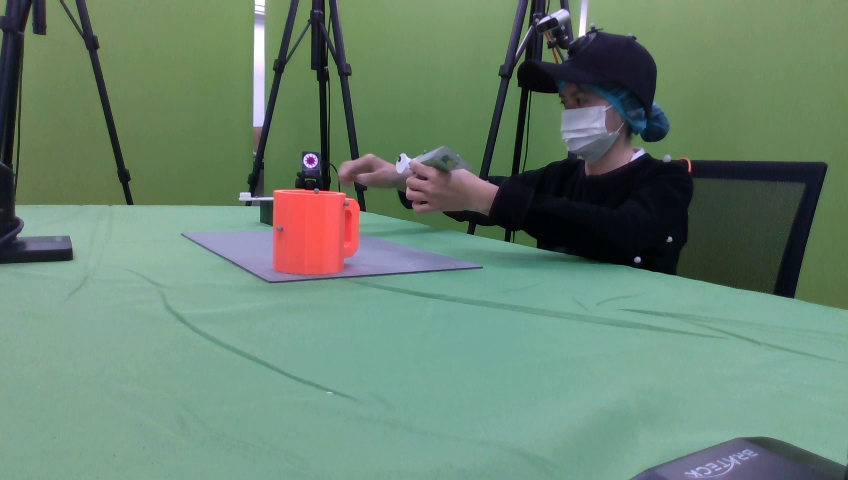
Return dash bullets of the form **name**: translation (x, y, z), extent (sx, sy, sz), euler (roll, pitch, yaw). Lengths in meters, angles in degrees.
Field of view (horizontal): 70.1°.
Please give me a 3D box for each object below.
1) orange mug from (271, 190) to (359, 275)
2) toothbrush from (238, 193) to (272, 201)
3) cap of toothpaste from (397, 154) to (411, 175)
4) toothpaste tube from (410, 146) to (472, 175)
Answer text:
- **orange mug**: translation (-0.131, -0.013, 0.754), extent (0.083, 0.101, 0.127), euler (8, 13, 38)
- **toothbrush**: translation (-0.286, -0.087, 1.236), extent (0.183, 0.016, 0.014), euler (-1, 4, -30)
- **cap of toothpaste**: translation (-0.034, -0.129, 1.029), extent (0.011, 0.037, 0.037), euler (6, 4, -35)
- **toothpaste tube**: translation (0.018, -0.124, 0.956), extent (0.055, 0.034, 0.164), euler (30, -10, -21)
